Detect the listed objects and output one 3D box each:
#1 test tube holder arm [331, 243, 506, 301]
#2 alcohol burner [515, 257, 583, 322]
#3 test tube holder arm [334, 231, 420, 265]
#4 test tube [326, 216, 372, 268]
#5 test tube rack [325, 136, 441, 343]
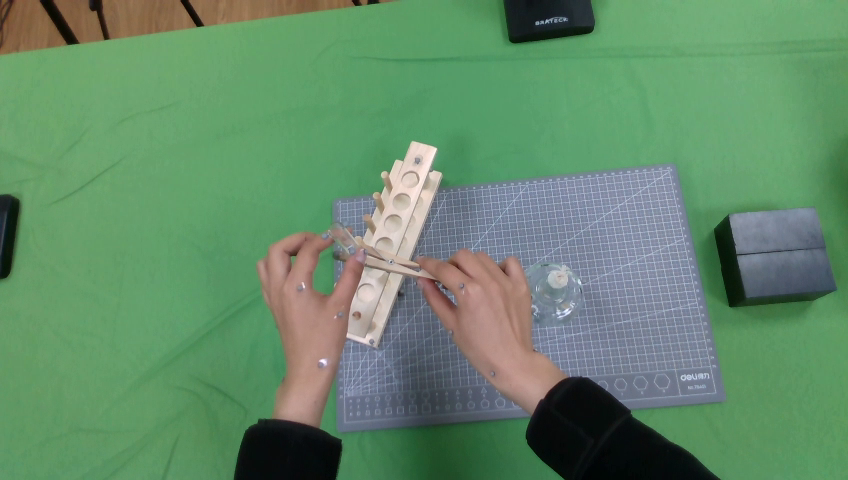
[{"bbox_3d":[-0.006,0.031,0.595,0.178,0.015,0.013,17,90,8],"label":"test tube holder arm"},{"bbox_3d":[0.144,0.052,0.689,0.078,0.120,0.077,-1,71,4],"label":"alcohol burner"},{"bbox_3d":[-0.047,0.012,0.601,0.087,0.015,0.010,22,90,8],"label":"test tube holder arm"},{"bbox_3d":[-0.070,0.006,0.597,0.017,0.151,0.017,-1,75,6],"label":"test tube"},{"bbox_3d":[-0.053,-0.004,0.740,0.066,0.086,0.241,18,75,11],"label":"test tube rack"}]
